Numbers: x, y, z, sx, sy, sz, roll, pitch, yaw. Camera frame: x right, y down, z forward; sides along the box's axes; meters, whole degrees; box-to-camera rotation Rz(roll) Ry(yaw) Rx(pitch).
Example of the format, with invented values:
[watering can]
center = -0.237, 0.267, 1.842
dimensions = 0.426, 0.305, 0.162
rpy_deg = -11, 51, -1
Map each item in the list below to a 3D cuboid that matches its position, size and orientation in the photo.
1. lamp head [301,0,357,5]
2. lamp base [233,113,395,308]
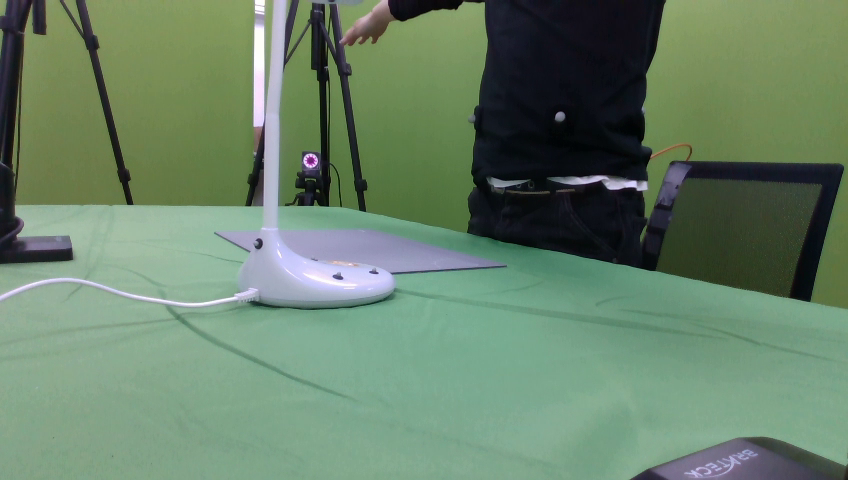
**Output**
[lamp head]
center = -0.096, -0.314, 0.610
dimensions = 0.112, 0.123, 0.112
rpy_deg = -4, 50, 5
[lamp base]
center = -0.113, -0.033, 0.600
dimensions = 0.160, 0.180, 0.180
rpy_deg = 6, 11, 28
